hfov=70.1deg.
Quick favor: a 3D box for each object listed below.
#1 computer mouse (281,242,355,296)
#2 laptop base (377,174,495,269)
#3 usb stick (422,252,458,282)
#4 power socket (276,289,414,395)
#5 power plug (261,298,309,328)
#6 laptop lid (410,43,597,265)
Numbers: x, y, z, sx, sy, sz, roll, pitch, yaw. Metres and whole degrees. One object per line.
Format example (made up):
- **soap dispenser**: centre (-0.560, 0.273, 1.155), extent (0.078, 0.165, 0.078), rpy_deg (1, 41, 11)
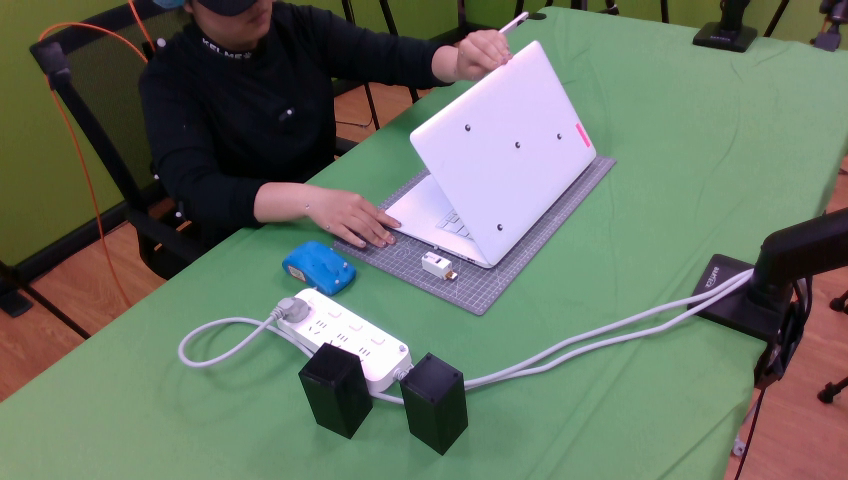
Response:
- **computer mouse**: centre (-0.164, 0.041, 0.934), extent (0.116, 0.041, 0.063), rpy_deg (27, 48, 28)
- **laptop base**: centre (0.115, -0.088, 1.058), extent (0.233, 0.023, 0.355), rpy_deg (20, 47, 33)
- **usb stick**: centre (0.025, 0.043, 0.908), extent (0.058, 0.027, 0.021), rpy_deg (27, 50, 30)
- **power socket**: centre (-0.115, 0.133, 0.820), extent (0.225, 0.033, 0.072), rpy_deg (25, 49, 33)
- **power plug**: centre (-0.192, 0.107, 0.830), extent (0.073, 0.053, 0.035), rpy_deg (-32, 43, -25)
- **laptop lid**: centre (0.146, -0.150, 0.965), extent (0.358, 0.242, 0.013), rpy_deg (-41, 15, -35)
